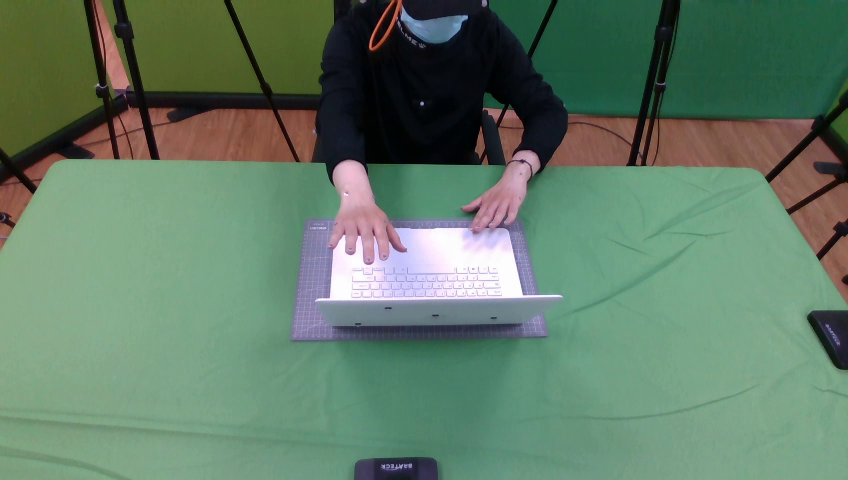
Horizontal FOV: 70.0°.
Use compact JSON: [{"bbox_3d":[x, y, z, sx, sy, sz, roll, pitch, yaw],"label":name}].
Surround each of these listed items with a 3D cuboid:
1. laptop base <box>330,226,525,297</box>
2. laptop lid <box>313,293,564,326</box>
[{"bbox_3d":[0.005,0.061,1.137,0.355,0.023,0.234,-1,43,-4],"label":"laptop base"},{"bbox_3d":[0.017,0.112,0.945,0.357,0.242,0.013,0,74,-5],"label":"laptop lid"}]
